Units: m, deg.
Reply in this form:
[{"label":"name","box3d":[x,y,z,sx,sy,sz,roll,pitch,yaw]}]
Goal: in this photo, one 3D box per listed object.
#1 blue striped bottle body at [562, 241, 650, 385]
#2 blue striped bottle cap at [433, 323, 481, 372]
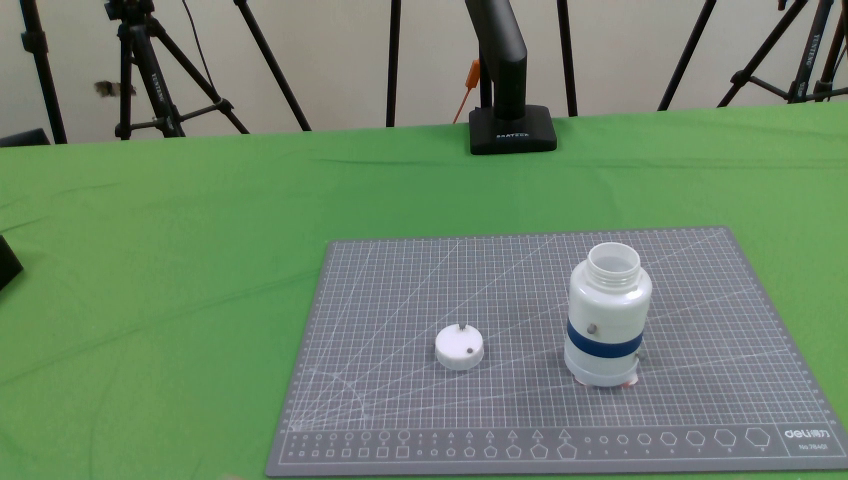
[{"label":"blue striped bottle body","box3d":[0.149,0.058,0.500,0.063,0.122,0.062,-3,38,3]},{"label":"blue striped bottle cap","box3d":[0.030,0.097,0.553,0.044,0.021,0.044,-2,37,2]}]
